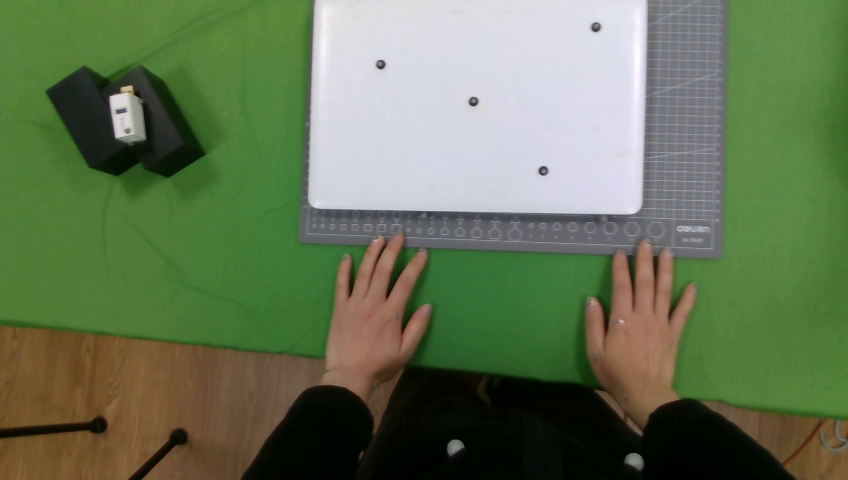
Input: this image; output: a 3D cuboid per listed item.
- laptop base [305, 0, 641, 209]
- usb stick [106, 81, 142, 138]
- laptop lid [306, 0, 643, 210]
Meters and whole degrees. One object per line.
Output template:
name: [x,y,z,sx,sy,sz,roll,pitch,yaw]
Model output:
laptop base: [0.050,-0.152,0.651,0.354,0.023,0.235,1,90,3]
usb stick: [-0.306,-0.136,0.618,0.021,0.027,0.059,-10,84,4]
laptop lid: [0.050,-0.151,0.639,0.356,0.013,0.241,3,89,4]
